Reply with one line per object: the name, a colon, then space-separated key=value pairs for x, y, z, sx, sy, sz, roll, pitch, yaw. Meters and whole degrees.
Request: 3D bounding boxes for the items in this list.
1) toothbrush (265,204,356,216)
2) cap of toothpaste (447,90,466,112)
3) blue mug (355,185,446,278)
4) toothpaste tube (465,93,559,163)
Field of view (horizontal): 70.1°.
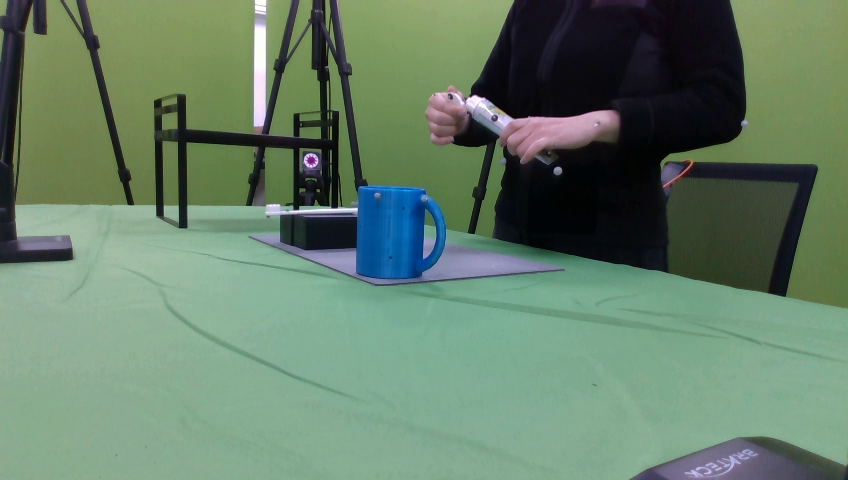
toothbrush: x=-0.160 y=-0.048 z=0.937 sx=0.183 sy=0.016 sz=0.014 roll=-4 pitch=4 yaw=-39
cap of toothpaste: x=0.050 y=-0.214 z=0.926 sx=0.011 sy=0.037 sz=0.037 roll=-42 pitch=30 yaw=-26
blue mug: x=-0.027 y=-0.011 z=0.723 sx=0.116 sy=0.106 sz=0.083 roll=6 pitch=8 yaw=27
toothpaste tube: x=0.130 y=-0.171 z=0.915 sx=0.165 sy=0.034 sz=0.055 roll=37 pitch=40 yaw=11
